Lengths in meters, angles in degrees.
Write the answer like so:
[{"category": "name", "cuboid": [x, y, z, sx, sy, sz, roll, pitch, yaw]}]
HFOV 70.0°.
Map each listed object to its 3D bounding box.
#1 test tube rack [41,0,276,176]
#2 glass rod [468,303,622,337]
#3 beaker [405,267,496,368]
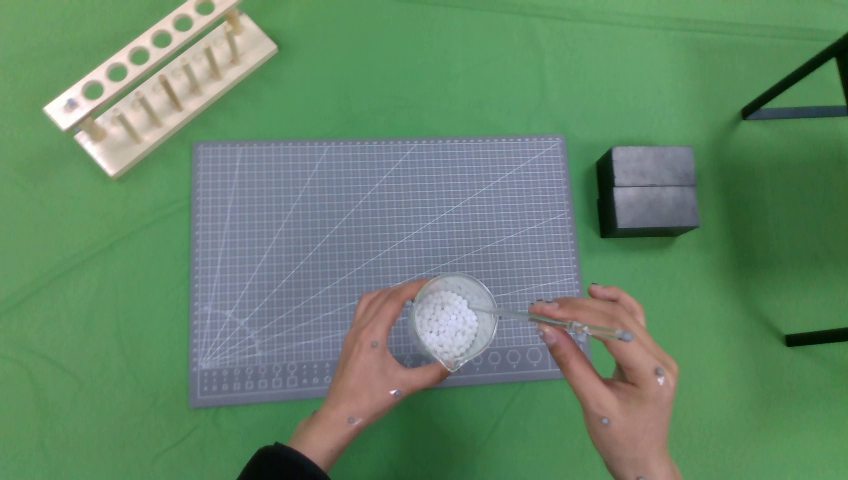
[{"category": "test tube rack", "cuboid": [-0.285, -0.186, 0.678, 0.242, 0.085, 0.066, -44, 85, -13]}, {"category": "glass rod", "cuboid": [0.074, 0.055, 0.429, 0.008, 0.199, 0.008, 0, 88, -20]}, {"category": "beaker", "cuboid": [0.019, 0.074, 0.548, 0.074, 0.100, 0.083, 4, 78, -4]}]
